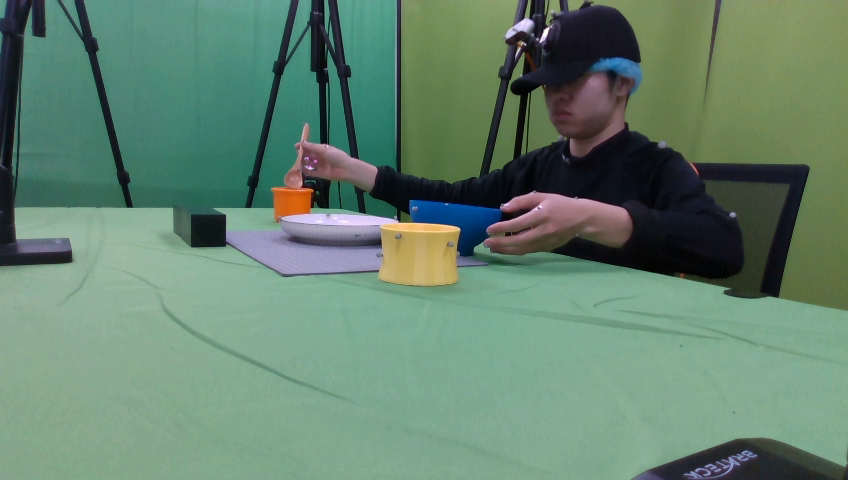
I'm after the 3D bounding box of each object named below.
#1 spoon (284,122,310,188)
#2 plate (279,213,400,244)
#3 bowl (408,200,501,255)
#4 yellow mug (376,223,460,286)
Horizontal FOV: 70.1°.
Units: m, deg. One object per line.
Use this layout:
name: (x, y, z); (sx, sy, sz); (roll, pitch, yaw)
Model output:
spoon: (-0.283, -0.198, 1.387); (0.042, 0.193, 0.021); (20, -31, -20)
plate: (-0.147, -0.020, 1.060); (0.209, 0.038, 0.209); (3, 7, 0)
bowl: (0.045, -0.019, 0.967); (0.151, 0.077, 0.151); (6, 5, 0)
yellow mug: (-0.002, 0.014, 0.754); (0.099, 0.064, 0.131); (5, 7, 20)
